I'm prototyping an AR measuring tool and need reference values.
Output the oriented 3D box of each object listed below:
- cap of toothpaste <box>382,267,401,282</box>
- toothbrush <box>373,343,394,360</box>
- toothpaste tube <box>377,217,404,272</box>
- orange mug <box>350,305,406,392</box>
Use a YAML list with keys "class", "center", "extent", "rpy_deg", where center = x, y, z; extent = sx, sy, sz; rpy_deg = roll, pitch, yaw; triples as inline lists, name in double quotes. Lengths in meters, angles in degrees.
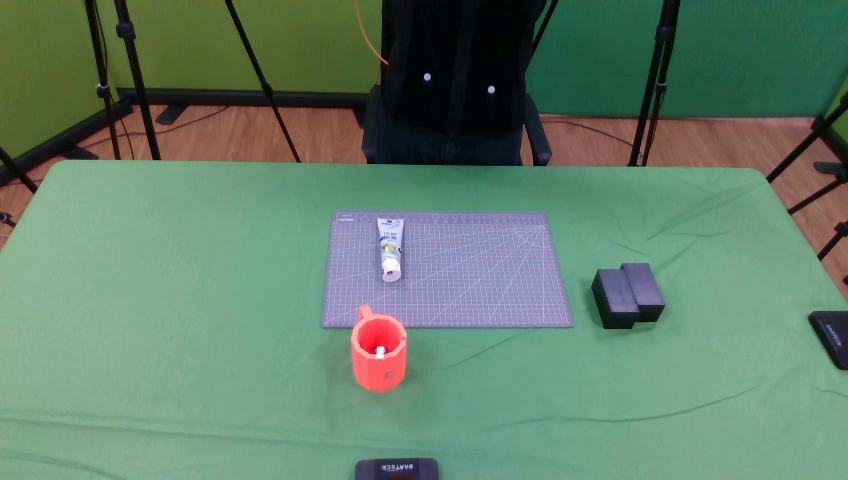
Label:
- class: "cap of toothpaste"
  center: [-0.060, 0.063, 1.119]
  extent: [0.037, 0.037, 0.011]
  rpy_deg: [-9, 50, -12]
- class: "toothbrush"
  center: [-0.061, 0.166, 0.925]
  extent: [0.014, 0.182, 0.016]
  rpy_deg: [-21, 84, 1]
- class: "toothpaste tube"
  center: [-0.063, 0.008, 1.179]
  extent: [0.055, 0.034, 0.164]
  rpy_deg: [5, 42, -9]
- class: "orange mug"
  center: [-0.080, 0.168, 0.978]
  extent: [0.083, 0.101, 0.125]
  rpy_deg: [-16, 54, -18]
